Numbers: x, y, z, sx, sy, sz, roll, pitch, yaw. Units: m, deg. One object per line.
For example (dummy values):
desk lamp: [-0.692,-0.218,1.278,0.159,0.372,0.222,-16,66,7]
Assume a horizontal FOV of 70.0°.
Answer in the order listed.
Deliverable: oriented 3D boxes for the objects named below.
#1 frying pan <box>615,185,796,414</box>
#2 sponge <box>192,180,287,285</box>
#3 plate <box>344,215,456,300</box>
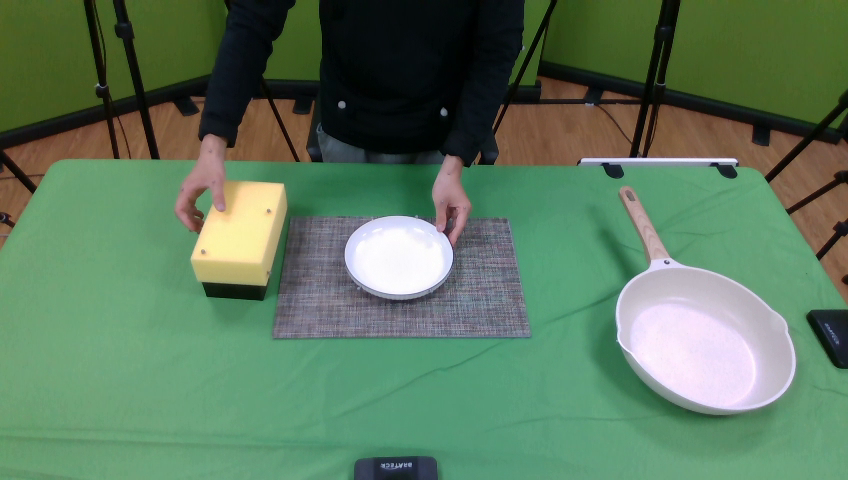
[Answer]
frying pan: [0.450,0.087,1.092,0.307,0.103,0.484,-4,55,-10]
sponge: [-0.327,-0.018,1.096,0.118,0.061,0.205,3,46,-1]
plate: [-0.045,0.036,1.146,0.208,0.039,0.206,2,46,-2]
